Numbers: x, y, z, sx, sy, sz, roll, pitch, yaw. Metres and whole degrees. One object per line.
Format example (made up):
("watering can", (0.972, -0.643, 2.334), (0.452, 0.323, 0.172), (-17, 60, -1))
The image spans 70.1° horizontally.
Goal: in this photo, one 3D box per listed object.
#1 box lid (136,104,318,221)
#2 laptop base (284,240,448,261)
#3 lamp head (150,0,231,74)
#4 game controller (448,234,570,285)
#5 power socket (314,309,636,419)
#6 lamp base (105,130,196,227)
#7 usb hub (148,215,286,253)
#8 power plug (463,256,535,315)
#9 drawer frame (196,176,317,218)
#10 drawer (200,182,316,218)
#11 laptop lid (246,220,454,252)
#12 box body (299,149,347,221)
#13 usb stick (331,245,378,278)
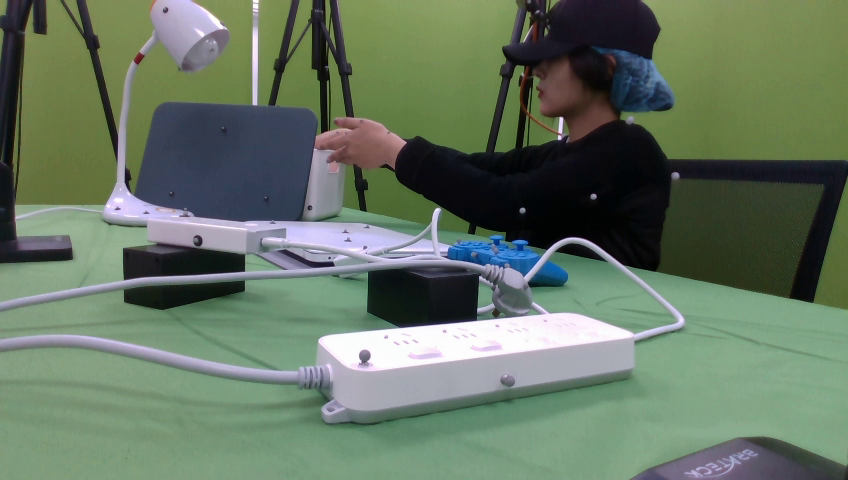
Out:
("box lid", (-0.411, -0.162, 1.266), (0.371, 0.263, 0.015), (3, -15, 8))
("laptop base", (-0.125, 0.002, 0.945), (0.237, 0.023, 0.352), (2, 6, -31))
("lamp head", (-0.432, -0.375, 1.086), (0.123, 0.112, 0.112), (42, 8, -3))
("game controller", (0.099, 0.021, 0.756), (0.097, 0.051, 0.154), (-7, 10, -29))
("power socket", (0.039, 0.072, 0.385), (0.228, 0.032, 0.072), (-2, 7, -28))
("lamp base", (-0.532, -0.120, 1.153), (0.179, 0.180, 0.161), (1, 7, 8))
("usb hub", (-0.197, -0.006, 0.575), (0.125, 0.025, 0.050), (6, 7, 22))
("power plug", (0.064, 0.039, 0.530), (0.072, 0.052, 0.035), (31, 43, 7))
("drawer frame", (-0.376, -0.102, 1.393), (0.213, 0.082, 0.202), (2, 8, 6))
("drawer", (-0.374, -0.097, 1.394), (0.212, 0.073, 0.194), (1, 9, 6))
("laptop lid", (-0.123, -0.009, 0.945), (0.243, 0.013, 0.355), (1, 7, -29))
("box body", (-0.384, -0.137, 1.406), (0.364, 0.160, 0.254), (3, 8, 7))
("usb stick", (-0.085, 0.026, 0.701), (0.059, 0.027, 0.021), (-18, 17, 26))
